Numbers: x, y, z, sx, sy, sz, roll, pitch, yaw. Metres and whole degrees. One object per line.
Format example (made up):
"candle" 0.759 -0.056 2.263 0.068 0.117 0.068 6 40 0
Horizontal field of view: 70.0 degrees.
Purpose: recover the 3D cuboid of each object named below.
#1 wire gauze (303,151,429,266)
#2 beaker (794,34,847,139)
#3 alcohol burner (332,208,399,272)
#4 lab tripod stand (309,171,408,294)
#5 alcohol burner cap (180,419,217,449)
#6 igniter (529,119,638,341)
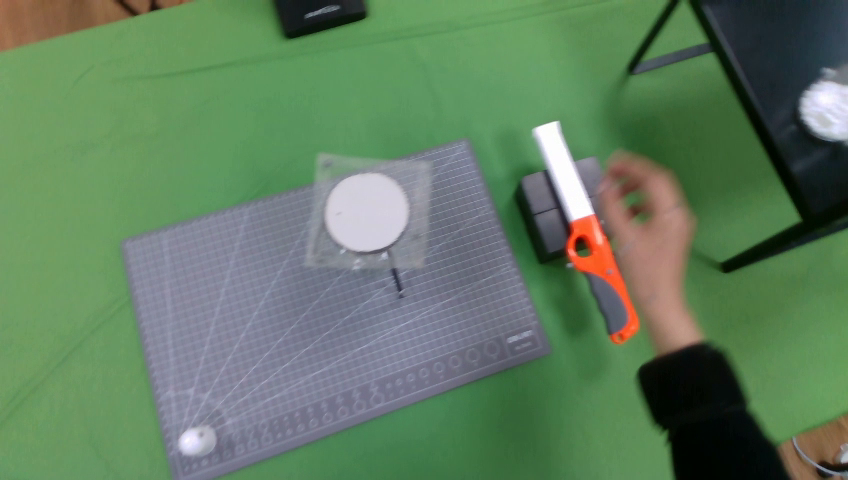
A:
"wire gauze" -0.058 -0.033 0.622 0.121 0.011 0.124 4 73 -2
"beaker" 0.418 -0.150 0.588 0.084 0.101 0.074 37 75 8
"alcohol burner" -0.068 -0.004 0.694 0.078 0.119 0.077 1 76 -2
"lab tripod stand" -0.065 -0.016 0.687 0.148 0.132 0.147 1 72 -2
"alcohol burner cap" -0.248 0.211 0.659 0.034 0.048 0.033 1 73 -4
"igniter" 0.186 -0.017 0.712 0.057 0.025 0.275 -18 75 -2
